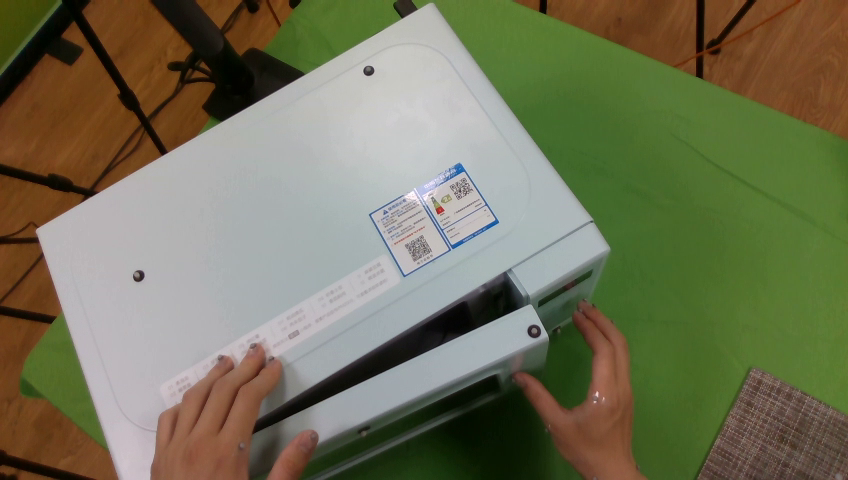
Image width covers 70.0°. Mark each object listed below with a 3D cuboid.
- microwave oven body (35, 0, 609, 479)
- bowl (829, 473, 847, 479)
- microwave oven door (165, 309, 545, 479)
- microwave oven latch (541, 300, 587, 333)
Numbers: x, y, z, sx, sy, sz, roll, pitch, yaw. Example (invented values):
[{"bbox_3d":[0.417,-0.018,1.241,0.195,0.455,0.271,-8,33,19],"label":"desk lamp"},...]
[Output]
[{"bbox_3d":[-0.094,0.022,0.644,0.442,0.262,0.323,-31,70,-2],"label":"microwave oven body"},{"bbox_3d":[0.413,0.295,0.567,0.151,0.077,0.150,-3,71,8],"label":"bowl"},{"bbox_3d":[-0.052,0.173,0.581,0.356,0.245,0.039,-25,68,0],"label":"microwave oven door"},{"bbox_3d":[0.146,0.082,0.690,0.079,0.030,0.030,-30,70,-1],"label":"microwave oven latch"}]
